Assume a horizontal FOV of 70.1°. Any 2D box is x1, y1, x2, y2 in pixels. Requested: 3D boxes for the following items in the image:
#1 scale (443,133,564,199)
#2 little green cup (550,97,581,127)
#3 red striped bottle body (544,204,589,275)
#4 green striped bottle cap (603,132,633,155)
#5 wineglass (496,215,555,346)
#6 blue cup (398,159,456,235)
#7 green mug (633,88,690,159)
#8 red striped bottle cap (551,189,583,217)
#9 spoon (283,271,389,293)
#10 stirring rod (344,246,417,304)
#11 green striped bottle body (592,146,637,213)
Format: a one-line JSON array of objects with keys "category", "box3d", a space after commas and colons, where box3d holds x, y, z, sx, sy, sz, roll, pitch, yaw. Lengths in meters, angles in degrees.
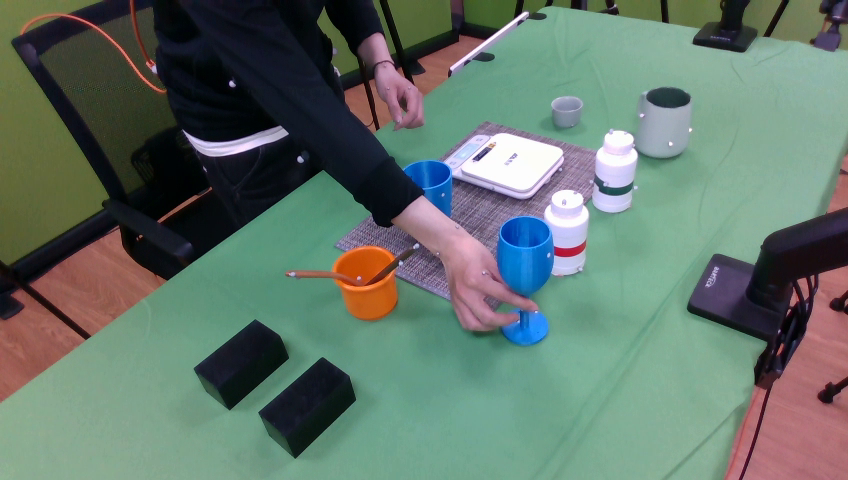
[{"category": "scale", "box3d": [0.137, -0.142, 1.101, 0.199, 0.032, 0.149, 22, 48, 30]}, {"category": "little green cup", "box3d": [0.284, -0.255, 1.213, 0.061, 0.039, 0.061, -5, 41, 5]}, {"category": "red striped bottle body", "box3d": [0.206, -0.011, 0.877, 0.063, 0.120, 0.062, -4, 41, 4]}, {"category": "green striped bottle cap", "box3d": [0.302, -0.149, 0.939, 0.044, 0.020, 0.044, -3, 40, 3]}, {"category": "wineglass", "box3d": [0.130, 0.055, 0.770, 0.074, 0.173, 0.073, -5, 40, 4]}, {"category": "blue cup", "box3d": [0.006, -0.065, 0.977, 0.092, 0.100, 0.092, -4, 39, 4]}, {"category": "green mug", "box3d": [0.423, -0.217, 1.099, 0.093, 0.105, 0.124, -16, 41, -10]}, {"category": "red striped bottle cap", "box3d": [0.199, -0.052, 0.843, 0.044, 0.018, 0.044, -2, 42, 2]}, {"category": "spoon", "box3d": [-0.117, 0.054, 0.825, 0.041, 0.195, 0.021, 16, 89, 37]}, {"category": "stirring rod", "box3d": [-0.062, 0.050, 0.818, 0.014, 0.175, 0.006, -2, 63, -41]}, {"category": "green striped bottle body", "box3d": [0.307, -0.108, 0.976, 0.063, 0.120, 0.063, -4, 41, 4]}]
